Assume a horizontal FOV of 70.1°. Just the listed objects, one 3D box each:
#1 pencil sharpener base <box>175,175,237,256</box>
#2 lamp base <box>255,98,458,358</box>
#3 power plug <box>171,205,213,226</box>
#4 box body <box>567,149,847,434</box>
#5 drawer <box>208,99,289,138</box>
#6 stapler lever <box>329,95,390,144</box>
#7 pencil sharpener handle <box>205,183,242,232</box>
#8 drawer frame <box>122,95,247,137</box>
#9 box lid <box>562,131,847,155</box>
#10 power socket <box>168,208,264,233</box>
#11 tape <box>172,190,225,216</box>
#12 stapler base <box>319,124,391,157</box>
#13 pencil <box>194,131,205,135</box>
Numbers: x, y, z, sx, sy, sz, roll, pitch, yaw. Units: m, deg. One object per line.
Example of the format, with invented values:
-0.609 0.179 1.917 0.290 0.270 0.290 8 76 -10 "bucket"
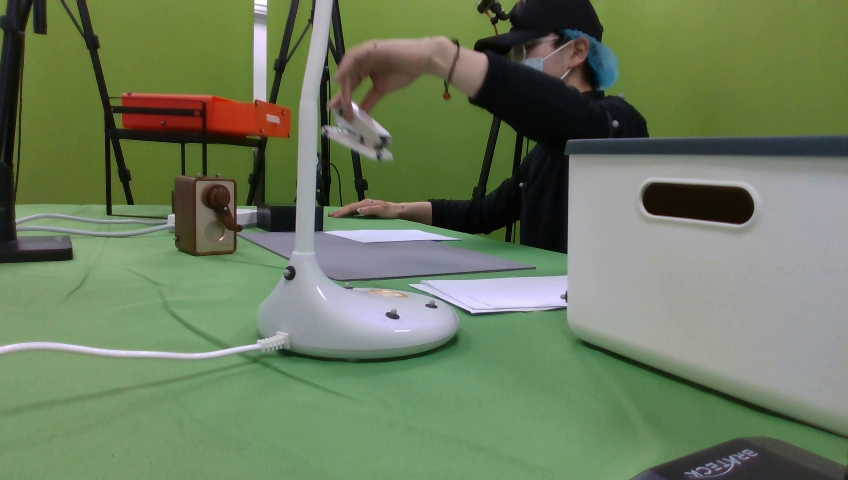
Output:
-0.305 -0.036 0.847 0.062 0.107 0.076 -4 10 -42 "pencil sharpener base"
-0.056 -0.013 0.462 0.160 0.180 0.180 6 11 27 "lamp base"
-0.455 -0.040 1.196 0.052 0.035 0.072 1 43 24 "power plug"
0.318 0.009 0.471 0.366 0.160 0.253 -2 8 -31 "box body"
-0.434 -0.273 1.364 0.211 0.073 0.195 2 8 9 "drawer"
-0.092 -0.172 0.854 0.027 0.040 0.117 -9 31 -45 "stapler lever"
-0.265 -0.043 0.812 0.036 0.068 0.030 -32 28 -35 "pencil sharpener handle"
-0.526 -0.281 1.376 0.213 0.082 0.202 3 8 8 "drawer frame"
0.322 -0.064 0.463 0.373 0.015 0.262 -2 9 -31 "box lid"
-0.381 -0.038 1.129 0.072 0.032 0.227 4 8 17 "power socket"
-0.516 -0.086 1.389 0.117 0.052 0.117 4 7 0 "tape"
-0.099 -0.149 0.863 0.041 0.024 0.130 -9 31 -45 "stapler base"
-0.425 -0.252 1.347 0.012 0.012 0.195 8 21 38 "pencil"
